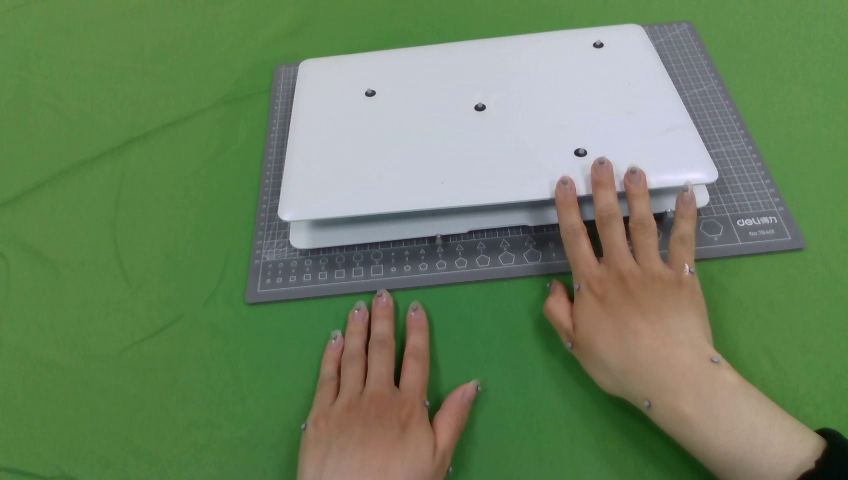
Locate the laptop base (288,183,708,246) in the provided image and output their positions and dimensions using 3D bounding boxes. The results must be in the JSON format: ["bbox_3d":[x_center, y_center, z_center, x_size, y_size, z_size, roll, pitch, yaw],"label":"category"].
[{"bbox_3d":[0.054,-0.105,0.568,0.354,0.023,0.233,-6,59,1],"label":"laptop base"}]

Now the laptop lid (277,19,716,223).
[{"bbox_3d":[0.051,-0.119,0.547,0.357,0.013,0.239,-4,51,2],"label":"laptop lid"}]
